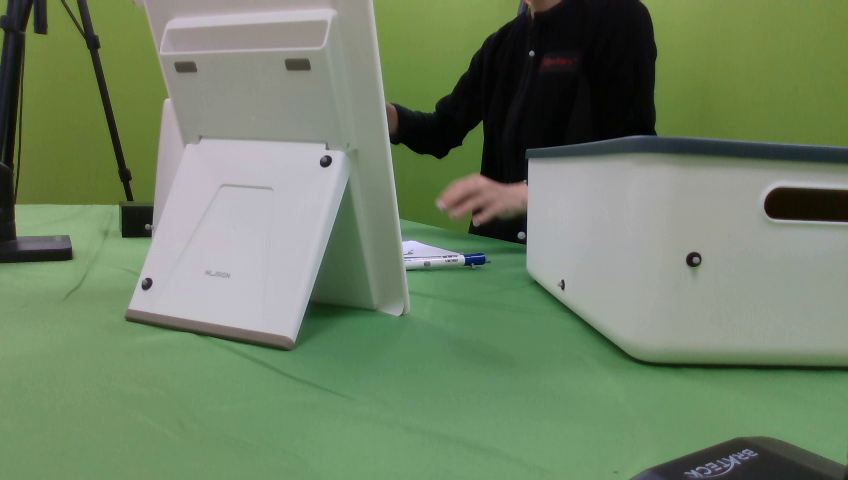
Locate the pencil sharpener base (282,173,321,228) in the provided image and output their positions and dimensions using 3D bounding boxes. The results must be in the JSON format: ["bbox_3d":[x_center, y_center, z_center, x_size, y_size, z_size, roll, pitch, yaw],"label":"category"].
[{"bbox_3d":[-0.247,-0.080,1.212,0.061,0.107,0.076,-2,5,-28],"label":"pencil sharpener base"}]

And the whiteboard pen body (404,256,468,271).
[{"bbox_3d":[0.013,0.030,0.792,0.141,0.017,0.017,-3,9,-24],"label":"whiteboard pen body"}]

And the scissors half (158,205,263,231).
[{"bbox_3d":[-0.371,-0.042,1.062,0.176,0.040,0.012,9,6,-28],"label":"scissors half"}]

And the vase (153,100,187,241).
[{"bbox_3d":[-0.278,-0.066,0.736,0.098,0.200,0.098,2,9,0],"label":"vase"}]

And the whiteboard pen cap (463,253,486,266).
[{"bbox_3d":[0.066,0.027,0.818,0.033,0.018,0.018,-5,10,-24],"label":"whiteboard pen cap"}]

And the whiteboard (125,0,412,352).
[{"bbox_3d":[-0.151,-0.049,0.471,0.216,0.305,0.144,6,27,24],"label":"whiteboard"}]

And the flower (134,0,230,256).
[{"bbox_3d":[-0.282,-0.147,0.713,0.038,0.362,0.044,-23,24,-31],"label":"flower"}]

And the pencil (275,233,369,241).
[{"bbox_3d":[-0.169,-0.006,1.036,0.195,0.012,0.012,-2,9,-45],"label":"pencil"}]

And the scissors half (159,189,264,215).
[{"bbox_3d":[-0.370,-0.062,1.059,0.176,0.040,0.013,-11,9,-26],"label":"scissors half"}]

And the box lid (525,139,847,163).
[{"bbox_3d":[0.261,-0.078,0.580,0.264,0.015,0.371,2,7,-4],"label":"box lid"}]

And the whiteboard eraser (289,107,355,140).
[{"bbox_3d":[-0.188,-0.214,1.123,0.113,0.041,0.055,2,-16,-36],"label":"whiteboard eraser"}]

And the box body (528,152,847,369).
[{"bbox_3d":[0.258,-0.005,0.591,0.254,0.160,0.363,2,7,-4],"label":"box body"}]

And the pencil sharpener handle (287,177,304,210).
[{"bbox_3d":[-0.269,-0.096,1.257,0.036,0.067,0.030,-8,8,-27],"label":"pencil sharpener handle"}]
